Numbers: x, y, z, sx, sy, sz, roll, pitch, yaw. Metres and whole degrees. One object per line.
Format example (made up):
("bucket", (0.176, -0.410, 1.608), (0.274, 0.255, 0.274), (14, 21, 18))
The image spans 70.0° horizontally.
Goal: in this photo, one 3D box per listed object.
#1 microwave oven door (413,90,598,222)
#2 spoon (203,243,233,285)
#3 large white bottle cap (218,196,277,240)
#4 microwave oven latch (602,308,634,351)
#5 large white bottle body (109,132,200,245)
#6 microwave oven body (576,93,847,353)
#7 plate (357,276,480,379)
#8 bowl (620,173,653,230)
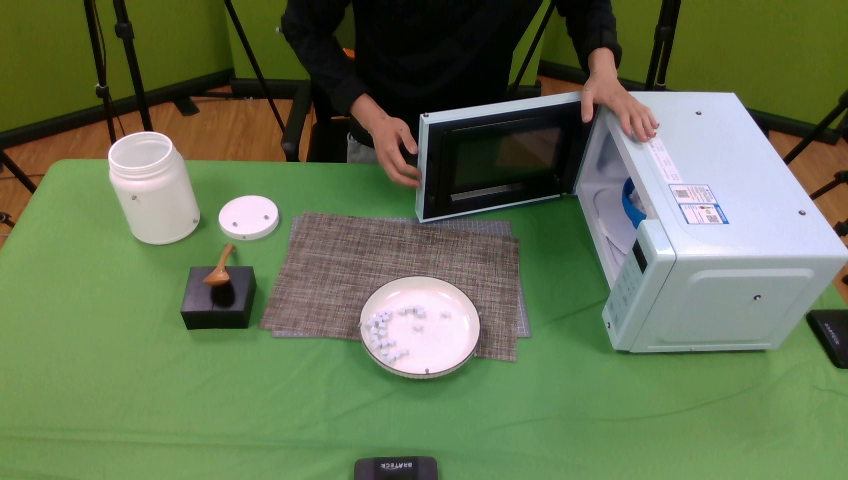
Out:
("microwave oven door", (0.156, -0.164, 1.197), (0.356, 0.245, 0.039), (-11, 48, -15))
("spoon", (-0.360, 0.039, 1.087), (0.041, 0.022, 0.192), (-5, 24, -7))
("large white bottle cap", (-0.354, -0.045, 1.220), (0.115, 0.018, 0.114), (2, 45, -2))
("microwave oven latch", (0.332, 0.153, 1.044), (0.030, 0.029, 0.078), (-1, 45, -4))
("large white bottle body", (-0.506, -0.097, 1.141), (0.131, 0.185, 0.130), (2, 46, -2))
("microwave oven body", (0.475, -0.041, 1.109), (0.326, 0.261, 0.438), (-1, 45, -4))
("plate", (-0.009, 0.151, 1.038), (0.209, 0.038, 0.208), (2, 47, -2))
("bowl", (0.445, -0.056, 1.166), (0.151, 0.077, 0.150), (2, 46, -2))
